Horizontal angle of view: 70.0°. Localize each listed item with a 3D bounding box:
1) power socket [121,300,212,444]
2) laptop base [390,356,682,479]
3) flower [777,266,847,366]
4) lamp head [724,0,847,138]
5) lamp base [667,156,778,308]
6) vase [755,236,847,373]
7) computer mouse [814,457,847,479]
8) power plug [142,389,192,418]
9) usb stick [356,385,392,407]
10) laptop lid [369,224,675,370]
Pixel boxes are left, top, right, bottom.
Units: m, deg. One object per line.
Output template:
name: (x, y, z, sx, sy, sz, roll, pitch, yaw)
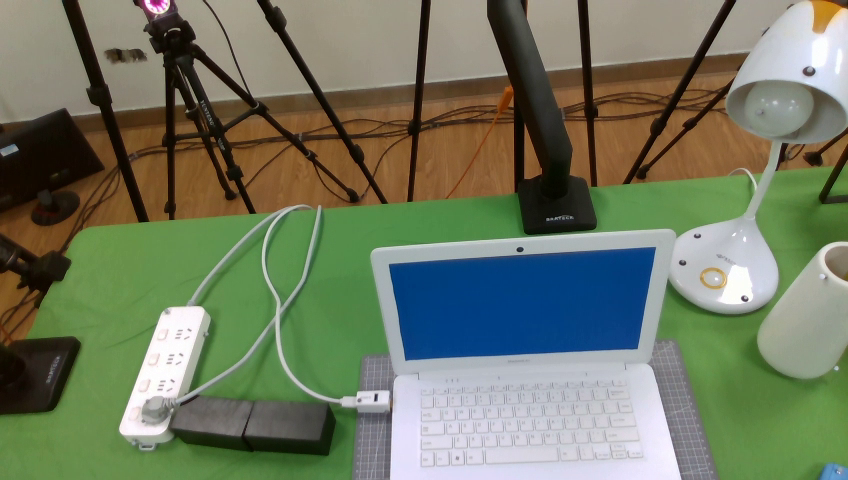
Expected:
power socket: (-0.371, 0.182, 0.885, 0.072, 0.033, 0.224, -1, 50, 5)
laptop base: (0.133, 0.263, 0.766, 0.354, 0.023, 0.233, -4, 53, 4)
flower: (0.496, 0.022, 0.697, 0.038, 0.364, 0.043, -4, 39, -18)
lamp head: (0.376, -0.177, 0.605, 0.111, 0.113, 0.122, 21, 74, 23)
lamp base: (0.444, -0.024, 0.862, 0.159, 0.182, 0.178, 24, 55, 24)
vase: (0.488, 0.083, 0.755, 0.098, 0.202, 0.097, -5, 49, 6)
computer mouse: (0.469, 0.299, 0.683, 0.062, 0.041, 0.117, 31, 56, 32)
power plug: (-0.346, 0.226, 0.820, 0.072, 0.053, 0.035, 8, 52, 10)
usb stick: (-0.061, 0.210, 0.817, 0.059, 0.027, 0.021, 1, 48, 2)
laptop lid: (0.120, 0.082, 0.764, 0.356, 0.244, 0.013, -5, 40, 4)
